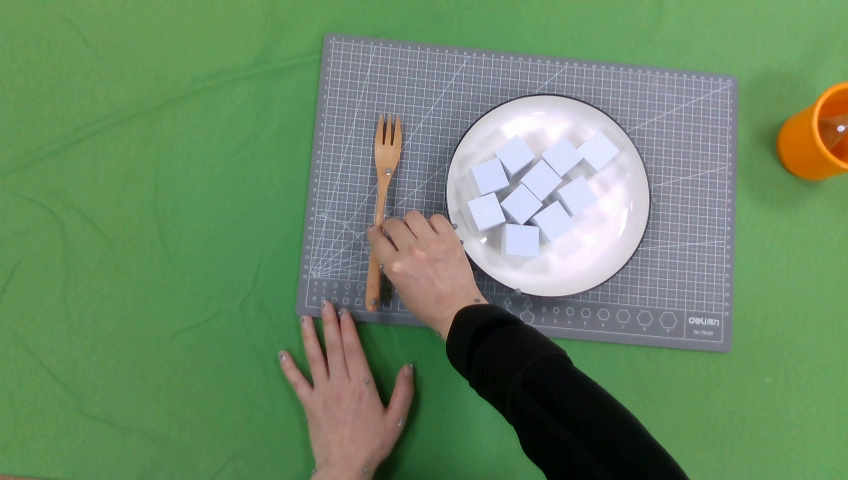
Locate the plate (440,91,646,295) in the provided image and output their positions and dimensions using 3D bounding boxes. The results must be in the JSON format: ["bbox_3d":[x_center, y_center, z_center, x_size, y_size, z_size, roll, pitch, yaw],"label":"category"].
[{"bbox_3d":[0.118,-0.047,0.619,0.208,0.039,0.207,0,84,-3],"label":"plate"}]

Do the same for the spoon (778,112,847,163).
[{"bbox_3d":[0.449,-0.135,0.594,0.022,0.193,0.041,-15,76,-48],"label":"spoon"}]

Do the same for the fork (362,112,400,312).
[{"bbox_3d":[-0.046,-0.031,0.612,0.028,0.019,0.206,5,77,1],"label":"fork"}]
